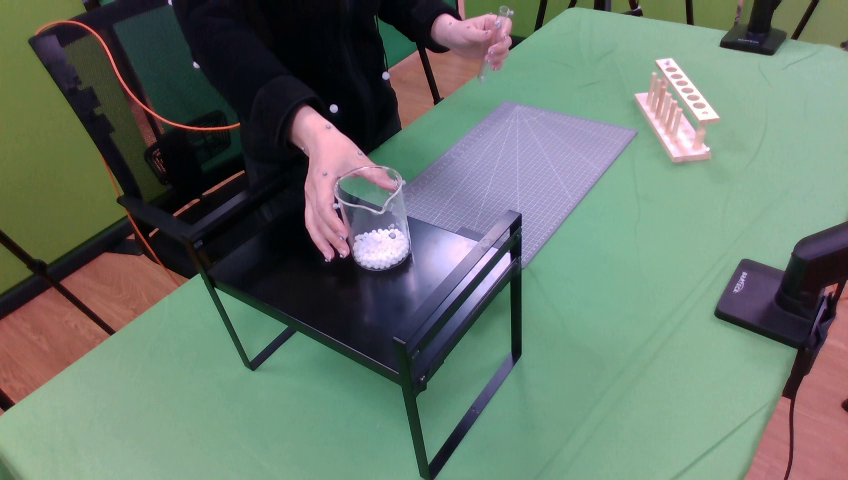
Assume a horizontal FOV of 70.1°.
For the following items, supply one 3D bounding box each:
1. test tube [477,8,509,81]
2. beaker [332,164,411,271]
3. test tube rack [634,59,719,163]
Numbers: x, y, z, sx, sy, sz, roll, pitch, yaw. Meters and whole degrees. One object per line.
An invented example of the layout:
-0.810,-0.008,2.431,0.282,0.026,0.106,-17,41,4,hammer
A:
0.109,-0.310,0.970,0.017,0.150,0.017,4,62,-8,test tube
-0.053,-0.020,0.670,0.074,0.101,0.083,-19,42,-12,beaker
0.470,-0.250,1.148,0.067,0.085,0.241,-6,40,3,test tube rack
